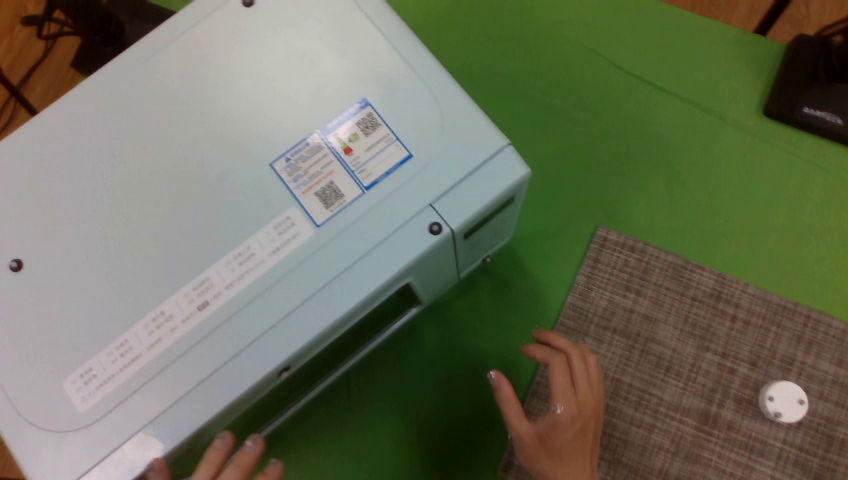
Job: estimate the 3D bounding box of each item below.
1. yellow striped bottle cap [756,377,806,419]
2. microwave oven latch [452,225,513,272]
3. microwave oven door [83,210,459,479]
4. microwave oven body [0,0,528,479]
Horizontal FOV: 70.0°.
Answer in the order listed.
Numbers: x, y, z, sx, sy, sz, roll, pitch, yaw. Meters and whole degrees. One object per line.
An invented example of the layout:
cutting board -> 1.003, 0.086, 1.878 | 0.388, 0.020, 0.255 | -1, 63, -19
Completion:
yellow striped bottle cap -> 0.378, 0.167, 0.641 | 0.044, 0.019, 0.044 | -1, 78, 5
microwave oven latch -> 0.062, 0.001, 0.673 | 0.079, 0.029, 0.030 | -37, 78, -3
microwave oven door -> -0.119, 0.114, 0.558 | 0.356, 0.245, 0.039 | -39, 77, -4
microwave oven body -> -0.176, -0.021, 0.595 | 0.441, 0.261, 0.324 | -39, 79, -4
